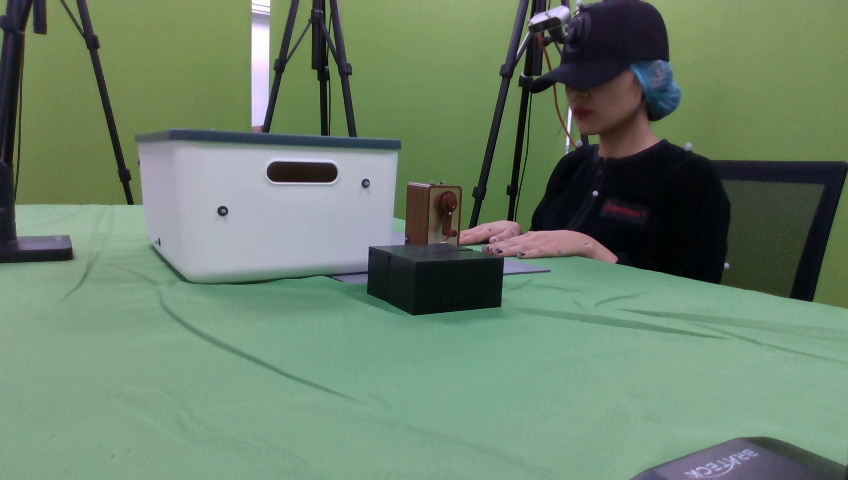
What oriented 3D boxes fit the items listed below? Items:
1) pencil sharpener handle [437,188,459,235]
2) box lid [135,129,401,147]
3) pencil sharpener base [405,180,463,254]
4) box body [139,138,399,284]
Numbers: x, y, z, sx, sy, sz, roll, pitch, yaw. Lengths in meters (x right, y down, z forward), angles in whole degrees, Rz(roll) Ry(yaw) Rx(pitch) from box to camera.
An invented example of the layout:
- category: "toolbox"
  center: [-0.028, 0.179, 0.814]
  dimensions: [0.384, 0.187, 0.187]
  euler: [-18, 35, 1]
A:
- category: "pencil sharpener handle"
  center: [0.041, -0.041, 0.877]
  dimensions: [0.036, 0.067, 0.030]
  euler: [1, 7, -30]
- category: "box lid"
  center: [-0.220, -0.129, 0.795]
  dimensions: [0.265, 0.015, 0.369]
  euler: [-4, 9, -31]
- category: "pencil sharpener base"
  center: [0.016, -0.035, 0.922]
  dimensions: [0.061, 0.107, 0.076]
  euler: [-2, 9, -30]
- category: "box body"
  center: [-0.222, -0.056, 0.807]
  dimensions: [0.255, 0.160, 0.362]
  euler: [-3, 9, -31]
